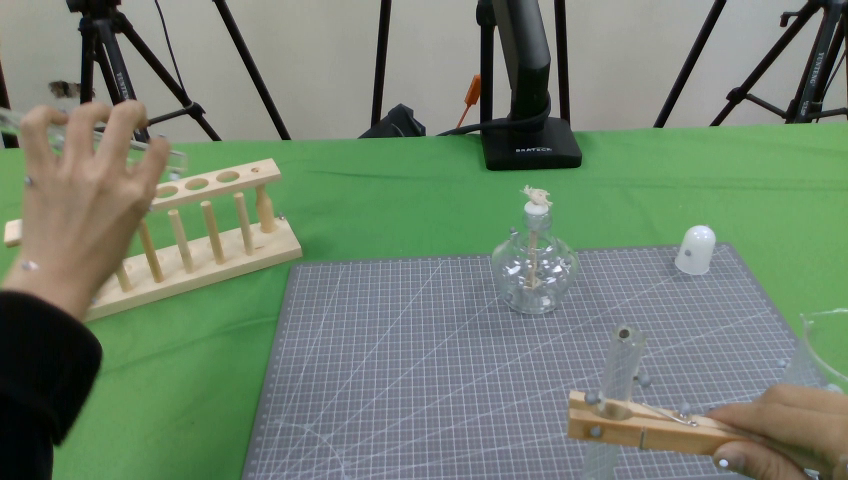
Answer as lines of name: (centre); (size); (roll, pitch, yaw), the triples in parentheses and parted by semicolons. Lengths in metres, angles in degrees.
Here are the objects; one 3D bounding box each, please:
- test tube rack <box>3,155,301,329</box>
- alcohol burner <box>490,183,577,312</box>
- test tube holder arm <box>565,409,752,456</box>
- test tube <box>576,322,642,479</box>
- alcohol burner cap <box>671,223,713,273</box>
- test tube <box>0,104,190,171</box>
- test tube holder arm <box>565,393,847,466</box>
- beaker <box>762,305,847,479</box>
test tube rack: (-0.251, -0.003, 0.585); (0.243, 0.086, 0.066); (-17, 40, -20)
alcohol burner: (0.097, 0.004, 0.533); (0.078, 0.120, 0.077); (-2, 36, 2)
test tube holder arm: (0.116, 0.097, 0.304); (0.088, 0.015, 0.010); (3, 35, 7)
test tube: (0.092, 0.110, 0.319); (0.017, 0.151, 0.017); (3, 25, -1)
alcohol burner cap: (0.260, 0.005, 0.585); (0.034, 0.048, 0.033); (-1, 37, 1)
test tube: (-0.247, -0.076, 0.435); (0.151, 0.017, 0.017); (13, 35, -16)
test tube holder arm: (0.161, 0.098, 0.301); (0.178, 0.015, 0.013); (6, 36, 12)
beaker: (0.276, 0.103, 0.408); (0.074, 0.101, 0.083); (-21, 40, -23)
